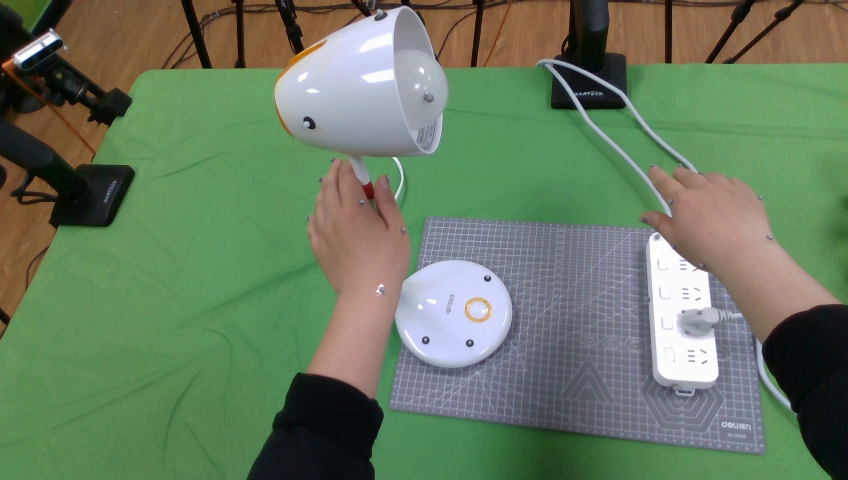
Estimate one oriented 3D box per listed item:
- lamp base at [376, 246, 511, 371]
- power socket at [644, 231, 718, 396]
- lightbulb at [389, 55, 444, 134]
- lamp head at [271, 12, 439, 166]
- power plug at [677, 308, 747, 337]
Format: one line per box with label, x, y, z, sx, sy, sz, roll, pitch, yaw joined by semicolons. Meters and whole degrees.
lamp base;0.014;0.063;0.763;0.179;0.182;0.159;-3;58;12
power socket;0.327;0.086;0.780;0.072;0.033;0.225;2;59;10
lightbulb;-0.037;-0.112;0.475;0.107;0.060;0.059;1;59;20
lamp head;-0.057;-0.110;0.490;0.122;0.113;0.111;-10;56;22
power plug;0.349;0.106;0.742;0.072;0.053;0.035;13;63;14
